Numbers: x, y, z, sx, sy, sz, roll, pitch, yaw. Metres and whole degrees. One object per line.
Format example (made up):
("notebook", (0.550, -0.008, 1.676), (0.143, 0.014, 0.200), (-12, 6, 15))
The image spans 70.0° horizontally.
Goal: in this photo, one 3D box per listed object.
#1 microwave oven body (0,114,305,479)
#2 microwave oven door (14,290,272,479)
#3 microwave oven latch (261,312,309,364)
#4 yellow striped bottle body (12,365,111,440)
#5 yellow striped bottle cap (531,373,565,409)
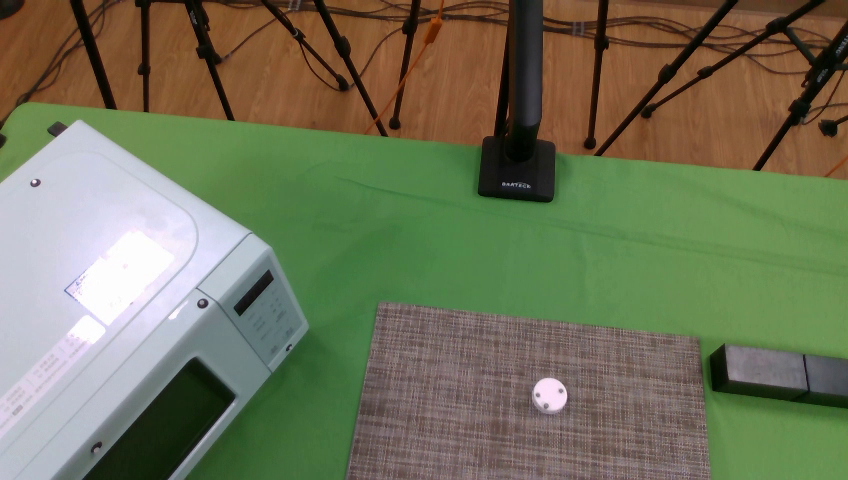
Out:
("microwave oven body", (-0.412, 0.134, 0.694), (0.324, 0.262, 0.440), (31, 67, 15))
("microwave oven door", (-0.315, 0.234, 0.634), (0.039, 0.246, 0.355), (31, 66, 17))
("microwave oven latch", (-0.188, 0.125, 0.809), (0.030, 0.030, 0.079), (33, 67, 16))
("yellow striped bottle body", (-0.407, 0.180, 0.678), (0.063, 0.121, 0.062), (1, 60, -1))
("yellow striped bottle cap", (0.163, 0.198, 0.797), (0.044, 0.019, 0.044), (-1, 61, 2))
